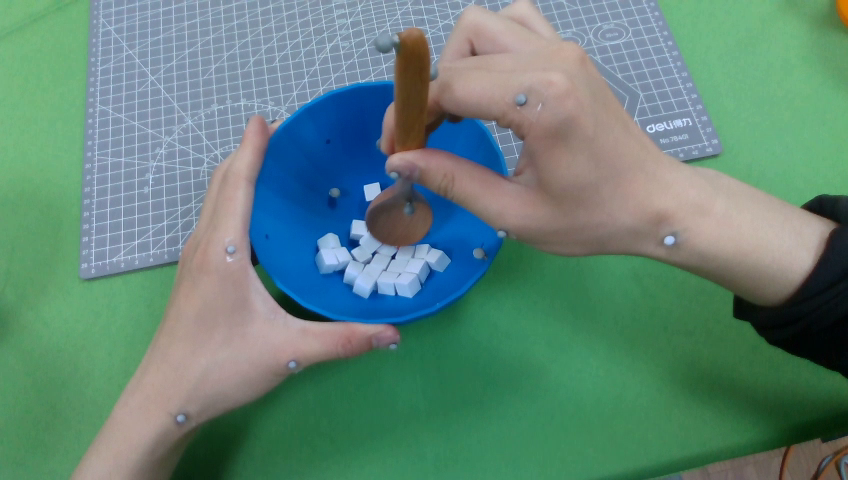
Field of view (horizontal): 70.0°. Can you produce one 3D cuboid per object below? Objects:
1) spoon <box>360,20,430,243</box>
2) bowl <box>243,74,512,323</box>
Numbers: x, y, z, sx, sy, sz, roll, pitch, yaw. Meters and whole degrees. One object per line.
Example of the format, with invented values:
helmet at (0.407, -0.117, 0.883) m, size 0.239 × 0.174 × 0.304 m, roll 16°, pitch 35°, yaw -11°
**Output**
spoon at (-0.011, -0.036, 0.287) m, size 0.042 × 0.194 × 0.021 m, roll -2°, pitch 74°, yaw -6°
bowl at (-0.024, -0.016, 0.374) m, size 0.151 × 0.077 × 0.150 m, roll -1°, pitch 71°, yaw 2°
